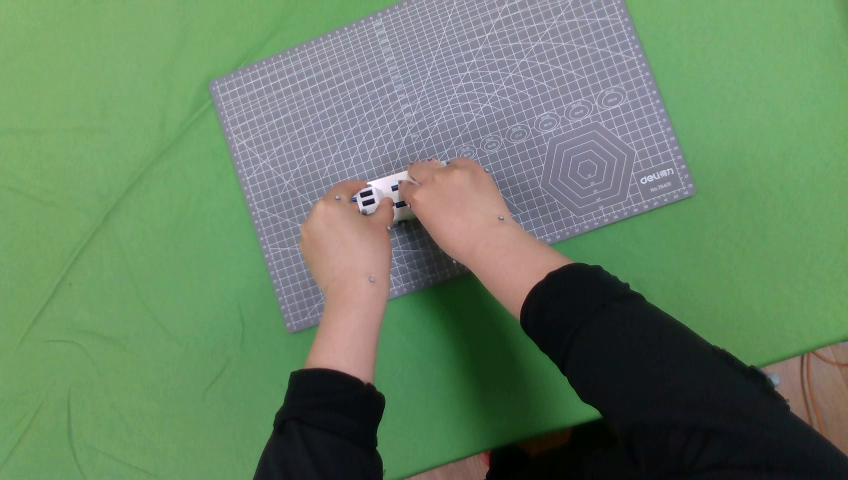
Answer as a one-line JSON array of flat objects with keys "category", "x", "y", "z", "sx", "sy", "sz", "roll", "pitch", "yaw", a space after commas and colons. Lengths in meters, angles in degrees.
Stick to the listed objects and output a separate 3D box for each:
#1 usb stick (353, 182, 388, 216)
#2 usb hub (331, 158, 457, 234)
[{"category": "usb stick", "x": -0.052, "y": -0.039, "z": 0.607, "sx": 0.021, "sy": 0.059, "sz": 0.027, "roll": -19, "pitch": 82, "yaw": 5}, {"category": "usb hub", "x": -0.032, "y": -0.046, "z": 0.637, "sx": 0.125, "sy": 0.025, "sz": 0.049, "roll": -15, "pitch": 85, "yaw": 8}]
